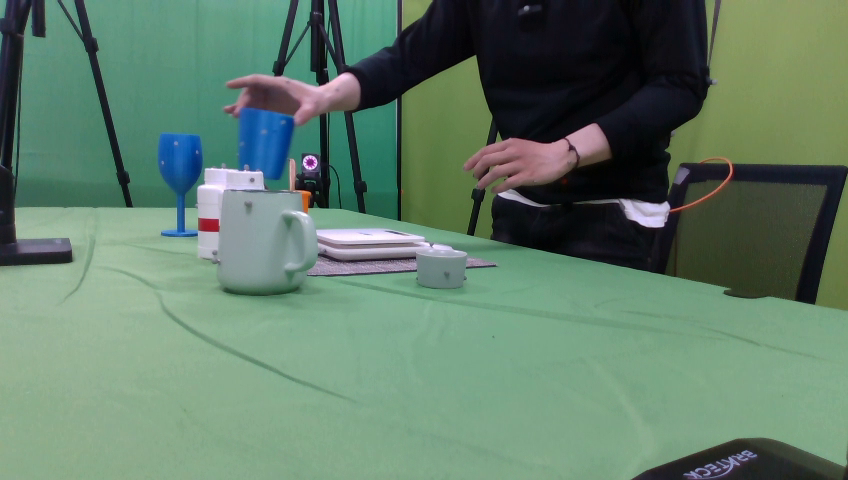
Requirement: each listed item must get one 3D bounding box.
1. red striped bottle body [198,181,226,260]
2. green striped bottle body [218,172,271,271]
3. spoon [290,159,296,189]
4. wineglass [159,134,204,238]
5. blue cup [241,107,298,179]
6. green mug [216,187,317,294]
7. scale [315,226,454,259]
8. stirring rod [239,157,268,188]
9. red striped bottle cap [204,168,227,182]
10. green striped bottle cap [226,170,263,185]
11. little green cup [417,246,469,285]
[{"bbox_3d":[-0.275,-0.036,0.827,0.063,0.119,0.063,1,7,0],"label":"red striped bottle body"},{"bbox_3d":[-0.223,-0.025,0.755,0.063,0.119,0.063,1,7,0],"label":"green striped bottle body"},{"bbox_3d":[-0.273,-0.102,1.252,0.042,0.193,0.021,7,-38,-17],"label":"spoon"},{"bbox_3d":[-0.415,-0.093,1.040,0.074,0.172,0.073,2,7,0],"label":"wineglass"},{"bbox_3d":[-0.244,-0.148,0.936,0.093,0.100,0.092,8,5,0],"label":"blue cup"},{"bbox_3d":[-0.157,0.000,0.629,0.124,0.105,0.093,7,9,37],"label":"green mug"},{"bbox_3d":[-0.066,0.001,0.906,0.202,0.031,0.148,-2,8,-31],"label":"scale"},{"bbox_3d":[-0.309,-0.098,1.210,0.006,0.177,0.014,-39,29,-5],"label":"stirring rod"},{"bbox_3d":[-0.275,-0.088,0.821,0.044,0.017,0.044,3,6,0],"label":"red striped bottle cap"},{"bbox_3d":[-0.222,-0.077,0.748,0.044,0.020,0.044,1,7,0],"label":"green striped bottle cap"},{"bbox_3d":[0.021,0.029,0.701,0.061,0.038,0.061,1,6,0],"label":"little green cup"}]
